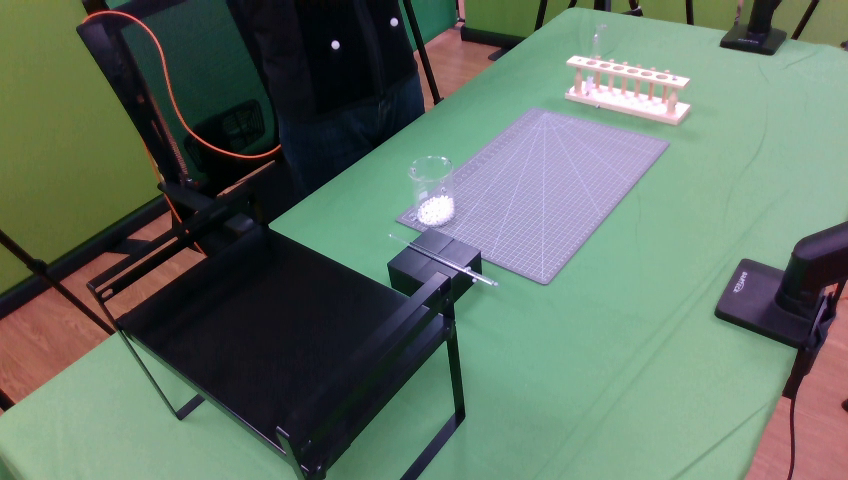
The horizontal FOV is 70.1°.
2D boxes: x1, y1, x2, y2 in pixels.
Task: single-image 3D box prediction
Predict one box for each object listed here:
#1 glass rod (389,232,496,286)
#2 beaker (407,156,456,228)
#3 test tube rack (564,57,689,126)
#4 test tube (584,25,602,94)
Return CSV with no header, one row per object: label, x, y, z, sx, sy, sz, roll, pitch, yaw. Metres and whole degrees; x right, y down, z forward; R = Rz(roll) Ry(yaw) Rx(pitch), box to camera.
glass rod,0.022,0.025,0.878,0.198,0.008,0.008,25,50,33
beaker,0.016,-0.079,1.002,0.073,0.101,0.084,26,49,33
test tube rack,0.411,-0.311,1.230,0.240,0.085,0.067,23,49,32
test tube,0.341,-0.362,1.224,0.017,0.151,0.017,-2,47,2
